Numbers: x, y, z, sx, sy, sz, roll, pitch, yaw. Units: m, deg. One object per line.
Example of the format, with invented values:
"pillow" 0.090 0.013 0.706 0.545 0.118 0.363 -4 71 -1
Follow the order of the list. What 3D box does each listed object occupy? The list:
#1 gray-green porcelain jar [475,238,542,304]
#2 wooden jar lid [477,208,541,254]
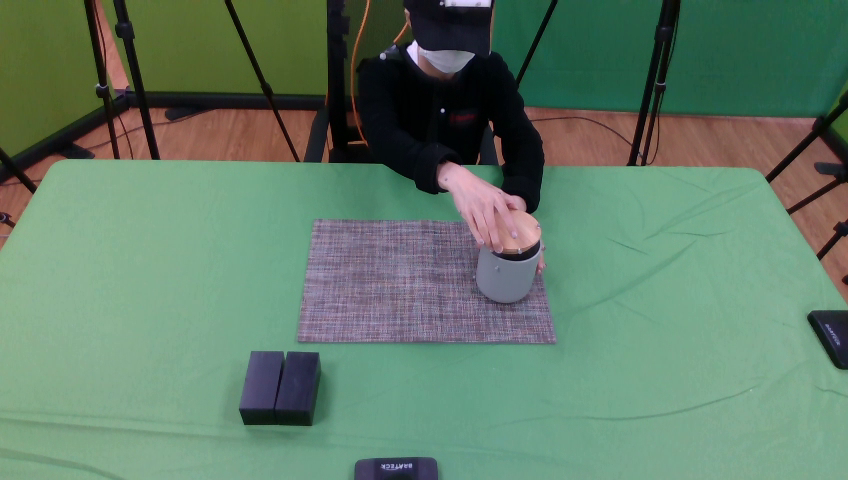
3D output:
"gray-green porcelain jar" 0.148 0.044 1.090 0.106 0.127 0.105 2 46 -2
"wooden jar lid" 0.143 -0.014 1.027 0.108 0.021 0.107 2 42 -1
